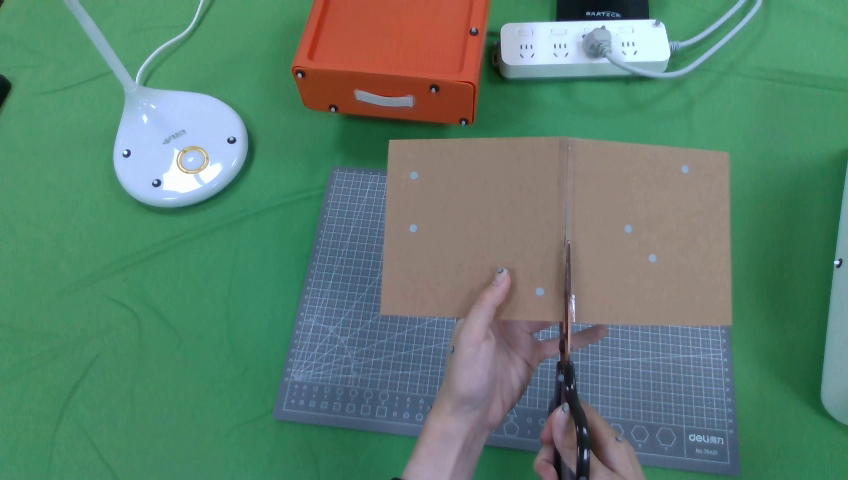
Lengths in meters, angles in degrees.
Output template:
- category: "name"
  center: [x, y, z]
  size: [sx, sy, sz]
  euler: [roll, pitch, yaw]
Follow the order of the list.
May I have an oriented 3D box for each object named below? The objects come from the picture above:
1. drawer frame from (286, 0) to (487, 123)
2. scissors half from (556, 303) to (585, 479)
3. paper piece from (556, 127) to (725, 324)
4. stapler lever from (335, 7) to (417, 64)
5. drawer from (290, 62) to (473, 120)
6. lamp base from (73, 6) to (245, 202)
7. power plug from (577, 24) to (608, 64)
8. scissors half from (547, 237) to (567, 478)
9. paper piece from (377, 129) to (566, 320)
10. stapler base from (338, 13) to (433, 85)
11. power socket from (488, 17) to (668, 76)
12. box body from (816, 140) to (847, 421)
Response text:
- category: "drawer frame"
  center: [-0.033, -0.252, 0.708]
  size: [0.201, 0.083, 0.212]
  euler: [6, 64, 6]
- category: "scissors half"
  center: [0.097, 0.081, 0.413]
  size: [0.013, 0.040, 0.173]
  euler: [3, 63, -1]
- category: "paper piece"
  center: [0.163, -0.009, 0.446]
  size: [0.136, 0.004, 0.135]
  euler: [5, 85, -12]
- category: "stapler lever"
  center: [-0.058, -0.238, 0.695]
  size: [0.117, 0.040, 0.027]
  euler: [35, 87, 21]
- category: "drawer"
  center: [-0.031, -0.250, 0.707]
  size: [0.194, 0.074, 0.210]
  euler: [6, 65, 6]
- category: "lamp base"
  center: [-0.311, -0.157, 0.669]
  size: [0.178, 0.182, 0.160]
  euler: [37, 71, 21]
- category: "power plug"
  center: [0.204, -0.231, 0.738]
  size: [0.035, 0.053, 0.072]
  euler: [10, 66, 7]
- category: "scissors half"
  center: [0.098, 0.085, 0.436]
  size: [0.013, 0.040, 0.175]
  euler: [2, 98, 3]
- category: "paper piece"
  center: [0.033, -0.012, 0.445]
  size: [0.135, 0.009, 0.138]
  euler: [2, 87, 13]
- category: "stapler base"
  center: [-0.049, -0.231, 0.719]
  size: [0.129, 0.024, 0.041]
  euler: [35, 87, 20]
- category: "power socket"
  center: [0.196, -0.247, 0.772]
  size: [0.227, 0.033, 0.071]
  euler: [0, 65, 2]
- category: "box body"
  center: [0.539, 0.023, 0.558]
  size: [0.253, 0.161, 0.362]
  euler: [18, 67, 11]
